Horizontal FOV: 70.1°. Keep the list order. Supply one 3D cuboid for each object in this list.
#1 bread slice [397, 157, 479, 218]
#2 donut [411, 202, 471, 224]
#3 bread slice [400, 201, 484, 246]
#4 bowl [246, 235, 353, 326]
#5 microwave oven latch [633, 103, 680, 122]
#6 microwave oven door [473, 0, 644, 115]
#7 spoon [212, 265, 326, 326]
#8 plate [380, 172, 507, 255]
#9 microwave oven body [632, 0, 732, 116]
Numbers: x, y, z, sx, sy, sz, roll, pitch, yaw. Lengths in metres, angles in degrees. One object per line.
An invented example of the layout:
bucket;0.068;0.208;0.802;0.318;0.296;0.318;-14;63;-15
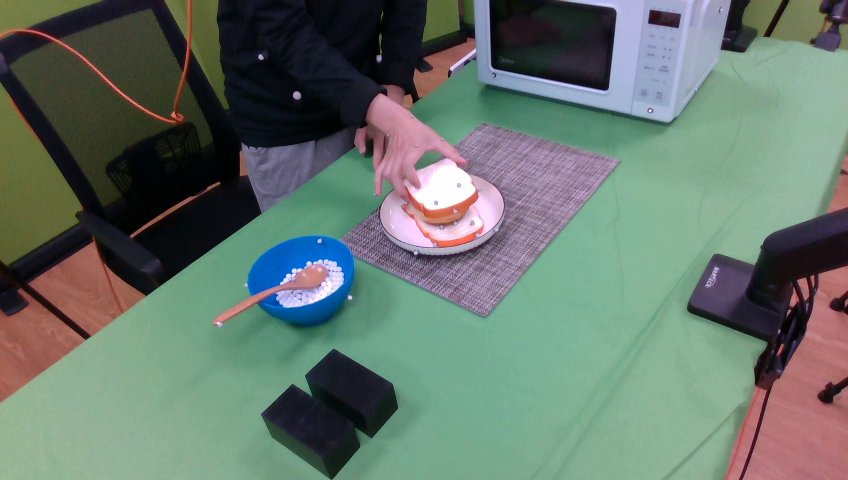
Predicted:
bread slice;0.026;-0.083;0.950;0.105;0.019;0.130;-23;40;-12
donut;0.028;-0.064;0.978;0.099;0.048;0.098;-4;40;4
bread slice;0.037;-0.038;0.990;0.107;0.018;0.133;-23;44;-17
bowl;-0.170;0.070;0.868;0.151;0.077;0.150;-4;41;4
microwave oven latch;0.444;-0.249;1.157;0.078;0.029;0.030;20;48;30
microwave oven door;0.257;-0.396;1.199;0.353;0.245;0.039;21;48;29
spoon;-0.208;0.072;0.822;0.041;0.021;0.195;25;28;28
plate;0.033;-0.042;0.995;0.207;0.039;0.206;-4;40;4
microwave oven body;0.377;-0.462;1.267;0.438;0.261;0.327;21;48;30
